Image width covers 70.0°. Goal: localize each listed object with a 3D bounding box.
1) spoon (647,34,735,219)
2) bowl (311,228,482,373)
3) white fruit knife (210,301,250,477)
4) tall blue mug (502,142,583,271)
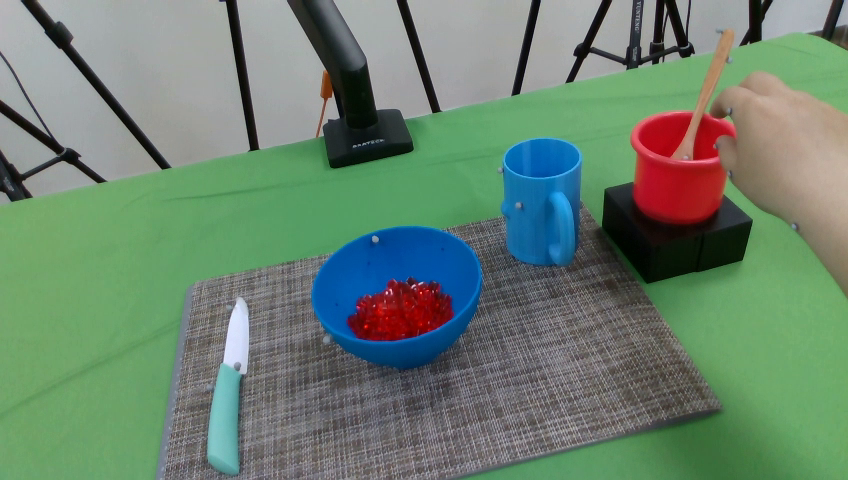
[{"bbox_3d":[0.265,-0.110,0.586,0.041,0.022,0.193,21,92,34],"label":"spoon"},{"bbox_3d":[-0.019,0.066,0.548,0.151,0.077,0.150,-5,39,5],"label":"bowl"},{"bbox_3d":[-0.176,0.125,0.559,0.027,0.016,0.205,13,32,-21],"label":"white fruit knife"},{"bbox_3d":[0.131,-0.027,0.610,0.078,0.109,0.106,-30,43,-26],"label":"tall blue mug"}]
